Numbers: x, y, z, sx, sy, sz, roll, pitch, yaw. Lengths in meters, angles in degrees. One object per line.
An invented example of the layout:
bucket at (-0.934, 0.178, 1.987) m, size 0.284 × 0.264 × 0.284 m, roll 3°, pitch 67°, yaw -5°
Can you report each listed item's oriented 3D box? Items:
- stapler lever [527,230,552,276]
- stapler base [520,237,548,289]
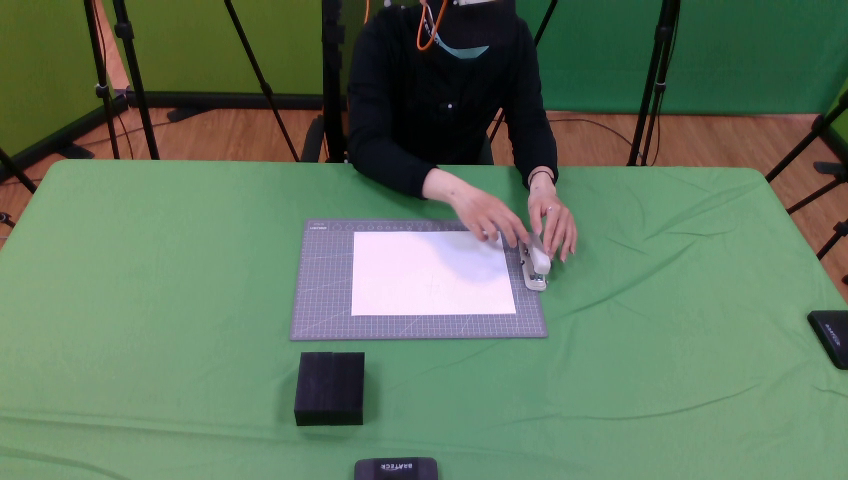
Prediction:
stapler lever at (0.218, 0.019, 1.151) m, size 0.027 × 0.040 × 0.117 m, roll 8°, pitch 44°, yaw -9°
stapler base at (0.214, 0.038, 1.167) m, size 0.041 × 0.024 × 0.129 m, roll 8°, pitch 44°, yaw -10°
